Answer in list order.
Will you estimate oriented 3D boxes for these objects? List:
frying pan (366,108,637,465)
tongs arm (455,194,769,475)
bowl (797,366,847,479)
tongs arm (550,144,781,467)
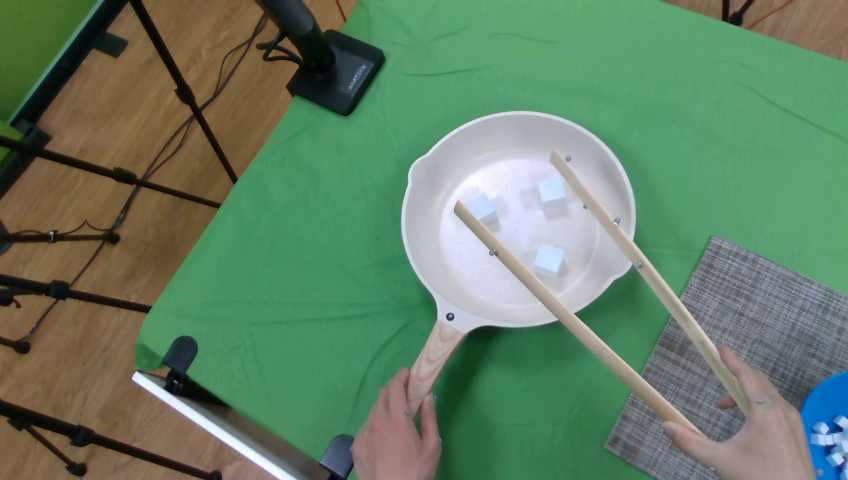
[{"bbox_3d":[0.066,0.054,0.753,0.305,0.103,0.486,27,70,19],"label":"frying pan"},{"bbox_3d":[0.166,0.084,0.601,0.028,0.028,0.385,-35,69,-28],"label":"tongs arm"},{"bbox_3d":[0.464,0.210,0.636,0.151,0.077,0.150,-3,71,9],"label":"bowl"},{"bbox_3d":[0.228,0.050,0.626,0.051,0.027,0.381,-25,66,-20],"label":"tongs arm"}]
